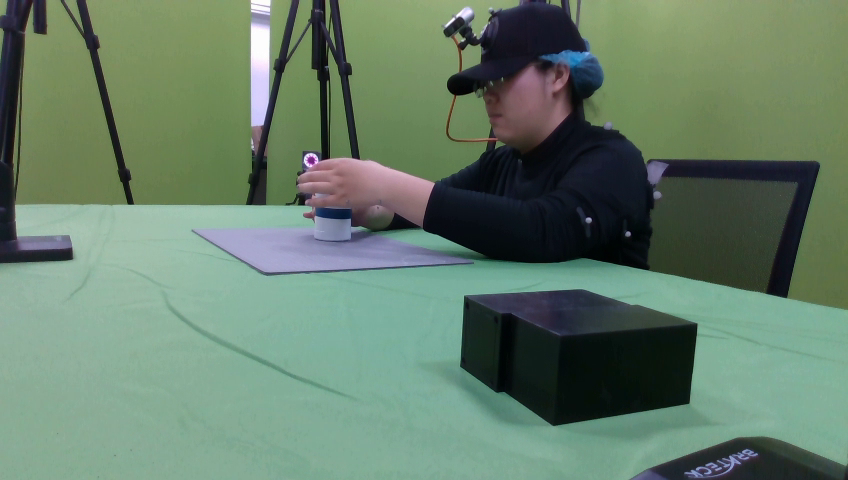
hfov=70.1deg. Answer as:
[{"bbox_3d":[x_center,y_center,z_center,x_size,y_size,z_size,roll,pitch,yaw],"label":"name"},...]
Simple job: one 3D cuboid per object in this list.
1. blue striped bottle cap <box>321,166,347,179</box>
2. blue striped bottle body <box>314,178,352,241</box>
[{"bbox_3d":[-0.151,-0.113,1.013,0.044,0.020,0.044,2,4,0],"label":"blue striped bottle cap"},{"bbox_3d":[-0.153,-0.061,1.021,0.063,0.120,0.063,3,6,0],"label":"blue striped bottle body"}]
